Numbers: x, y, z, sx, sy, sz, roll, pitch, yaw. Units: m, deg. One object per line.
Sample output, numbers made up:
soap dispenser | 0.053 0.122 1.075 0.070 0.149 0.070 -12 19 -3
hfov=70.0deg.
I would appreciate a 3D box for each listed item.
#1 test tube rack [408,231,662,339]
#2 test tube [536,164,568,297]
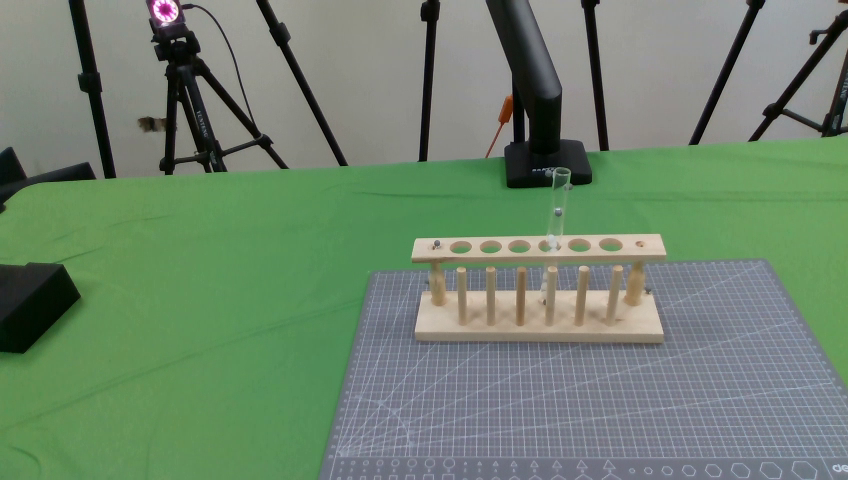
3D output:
test tube rack | 0.108 0.046 0.607 0.242 0.086 0.066 -1 36 8
test tube | 0.124 -0.004 0.589 0.017 0.151 0.017 0 34 1
